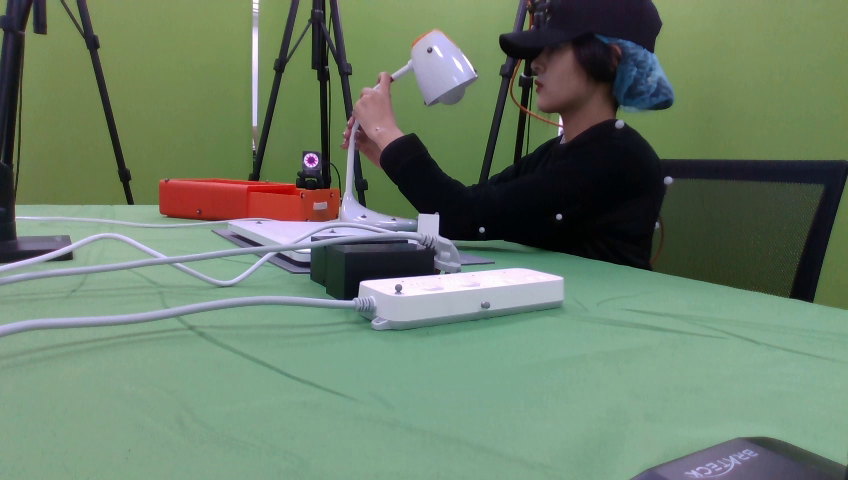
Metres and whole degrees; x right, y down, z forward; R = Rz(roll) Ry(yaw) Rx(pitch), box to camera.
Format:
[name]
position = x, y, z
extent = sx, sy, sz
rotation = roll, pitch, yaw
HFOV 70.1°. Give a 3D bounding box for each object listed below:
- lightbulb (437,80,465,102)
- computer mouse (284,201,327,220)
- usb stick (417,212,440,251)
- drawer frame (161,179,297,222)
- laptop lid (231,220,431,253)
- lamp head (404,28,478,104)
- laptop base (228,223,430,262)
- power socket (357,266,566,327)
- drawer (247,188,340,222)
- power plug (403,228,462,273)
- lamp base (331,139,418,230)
[lightbulb]
position = 0.037, -0.310, 1.131
extent = 0.059, 0.107, 0.059
rotation = -26, 2, 1
[computer mouse]
position = -0.252, -0.063, 1.294
extent = 0.063, 0.041, 0.117
rotation = 0, 2, 9
[usb stick]
position = 0.005, -0.003, 0.721
extent = 0.027, 0.059, 0.021
rotation = 0, -3, -3
[drawer frame]
position = -0.421, -0.089, 1.329
extent = 0.213, 0.082, 0.202
rotation = 4, 8, 16
[laptop lid]
position = -0.142, -0.009, 0.942
extent = 0.243, 0.013, 0.355
rotation = 1, 7, -31
[lamp head]
position = 0.023, -0.330, 1.135
extent = 0.112, 0.123, 0.112
rotation = -35, 3, 2
[laptop base]
position = -0.145, 0.002, 0.943
extent = 0.237, 0.023, 0.352
rotation = 2, 6, -32
[power socket]
position = 0.042, 0.049, 0.573
extent = 0.228, 0.032, 0.072
rotation = -3, 8, -34
[drawer]
position = -0.313, -0.078, 1.301
extent = 0.211, 0.073, 0.195
rotation = 4, 8, 15
[power plug]
position = 0.006, 0.016, 0.647
extent = 0.073, 0.052, 0.035
rotation = 17, 12, -6
[lamp base]
position = -0.099, -0.112, 1.206
extent = 0.179, 0.180, 0.160
rotation = -1, 6, -6
